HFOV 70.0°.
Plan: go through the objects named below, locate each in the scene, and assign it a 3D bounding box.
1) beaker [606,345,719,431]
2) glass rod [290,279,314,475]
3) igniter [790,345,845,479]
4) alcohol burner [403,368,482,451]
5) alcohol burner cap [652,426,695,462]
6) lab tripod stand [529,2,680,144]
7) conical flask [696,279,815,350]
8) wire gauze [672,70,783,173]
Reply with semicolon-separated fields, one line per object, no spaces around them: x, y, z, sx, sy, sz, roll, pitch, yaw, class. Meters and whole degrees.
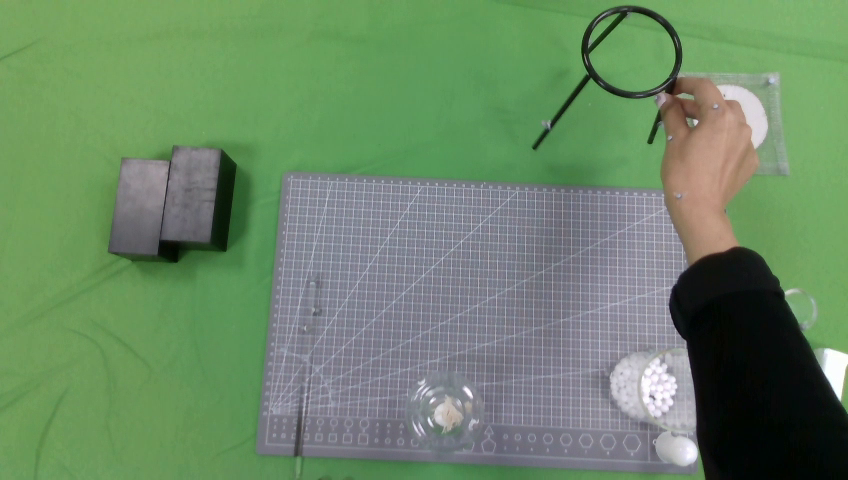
0.226;0.139;0.587;0.084;0.100;0.073;-21;80;-5;beaker
-0.126;0.140;0.628;0.008;0.008;0.199;4;82;0;glass rod
0.387;0.243;0.610;0.057;0.025;0.275;18;80;-8;igniter
0.018;0.161;0.573;0.078;0.119;0.077;0;78;1;alcohol burner
0.252;0.205;0.605;0.034;0.048;0.033;0;79;-1;alcohol burner cap
0.177;-0.152;0.593;0.148;0.132;0.148;0;80;-2;lab tripod stand
0.327;0.069;0.593;0.075;0.122;0.075;0;79;0;conical flask
0.345;-0.137;0.689;0.125;0.011;0.121;2;80;-3;wire gauze
